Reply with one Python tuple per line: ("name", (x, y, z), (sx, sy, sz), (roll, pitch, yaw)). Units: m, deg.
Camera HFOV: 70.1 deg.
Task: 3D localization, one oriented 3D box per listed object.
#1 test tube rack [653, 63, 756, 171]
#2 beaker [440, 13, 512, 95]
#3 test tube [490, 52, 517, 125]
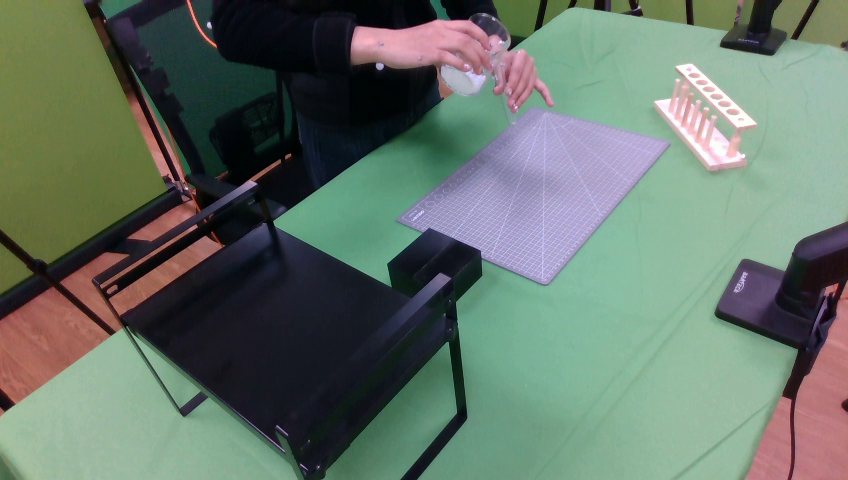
("test tube rack", (0.510, -0.233, 1.120), (0.067, 0.085, 0.241), (-9, 41, -1))
("beaker", (0.076, -0.274, 0.906), (0.073, 0.084, 0.100), (25, 72, 26))
("test tube", (0.134, -0.249, 1.009), (0.017, 0.151, 0.017), (-11, 50, 15))
